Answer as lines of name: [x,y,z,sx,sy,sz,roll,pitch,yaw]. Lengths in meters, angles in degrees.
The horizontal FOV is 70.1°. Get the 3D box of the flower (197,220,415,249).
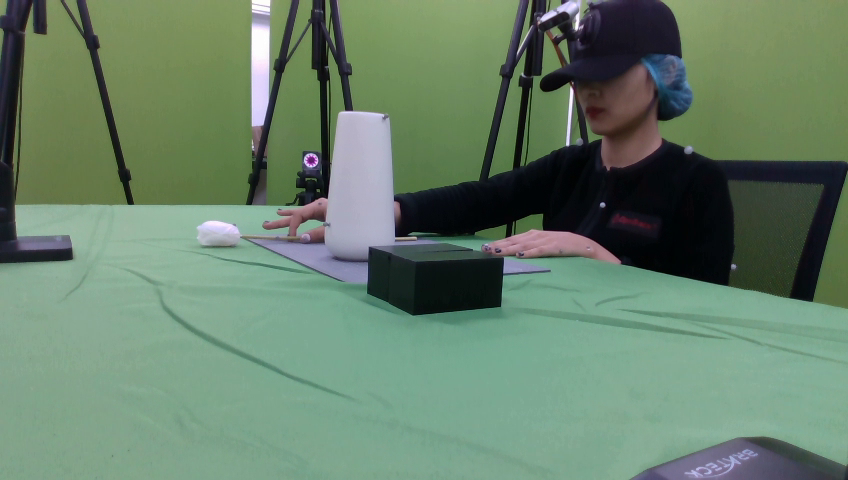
flower: [-0.175,-0.001,0.980,0.364,0.038,0.044,3,-32,-30]

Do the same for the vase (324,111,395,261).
vase: [-0.087,-0.074,0.829,0.098,0.200,0.098,2,9,0]
